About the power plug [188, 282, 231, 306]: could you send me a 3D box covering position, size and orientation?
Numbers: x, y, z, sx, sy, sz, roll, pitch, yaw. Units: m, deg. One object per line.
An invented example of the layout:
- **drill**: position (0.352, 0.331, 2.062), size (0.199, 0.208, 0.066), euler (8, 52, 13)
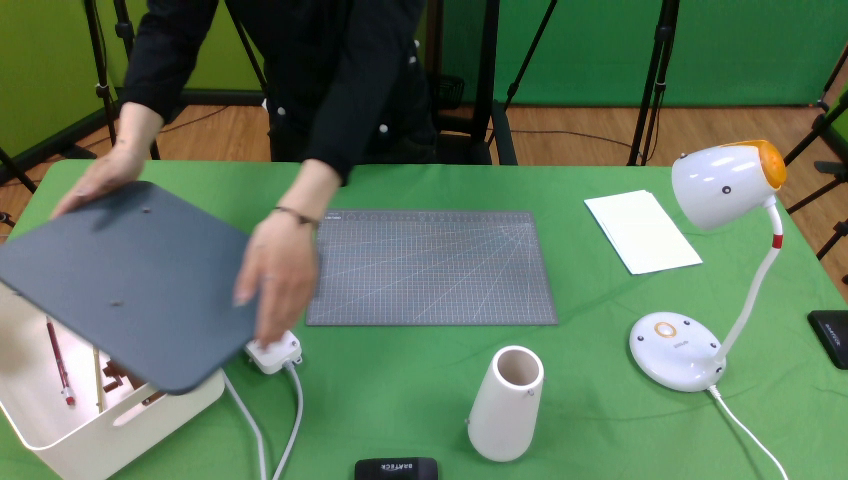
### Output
- **power plug**: position (-0.368, 0.097, 1.038), size (0.072, 0.053, 0.035), euler (-25, 56, -21)

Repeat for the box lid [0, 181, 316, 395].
- **box lid**: position (-0.363, 0.040, 0.819), size (0.370, 0.015, 0.263), euler (26, 41, 19)

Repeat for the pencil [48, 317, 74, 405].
- **pencil**: position (-0.587, 0.189, 0.975), size (0.012, 0.012, 0.193), euler (-23, 51, -24)

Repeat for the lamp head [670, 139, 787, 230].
- **lamp head**: position (0.415, -0.079, 0.812), size (0.113, 0.123, 0.112), euler (12, 70, -37)

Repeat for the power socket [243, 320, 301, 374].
- **power socket**: position (-0.296, 0.140, 1.035), size (0.072, 0.033, 0.225), euler (-32, 57, -29)

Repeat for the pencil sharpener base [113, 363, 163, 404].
- **pencil sharpener base**: position (-0.420, 0.187, 0.919), size (0.077, 0.107, 0.061), euler (-29, 55, -28)

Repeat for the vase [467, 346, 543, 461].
- **vase**: position (0.116, 0.234, 0.861), size (0.098, 0.201, 0.097), euler (1, 47, -1)

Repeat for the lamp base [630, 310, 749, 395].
- **lamp base**: position (0.447, 0.142, 0.984), size (0.161, 0.181, 0.178), euler (-24, 55, -24)

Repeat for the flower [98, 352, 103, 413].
- **flower**: position (-0.514, 0.210, 0.960), size (0.044, 0.038, 0.359), euler (6, 34, -33)

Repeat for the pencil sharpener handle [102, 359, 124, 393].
- **pencil sharpener handle**: position (-0.460, 0.200, 0.887), size (0.030, 0.068, 0.036), euler (-29, 59, -28)

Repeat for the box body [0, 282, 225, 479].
- **box body**: position (-0.504, 0.154, 0.916), size (0.362, 0.161, 0.254), euler (36, 54, 27)
